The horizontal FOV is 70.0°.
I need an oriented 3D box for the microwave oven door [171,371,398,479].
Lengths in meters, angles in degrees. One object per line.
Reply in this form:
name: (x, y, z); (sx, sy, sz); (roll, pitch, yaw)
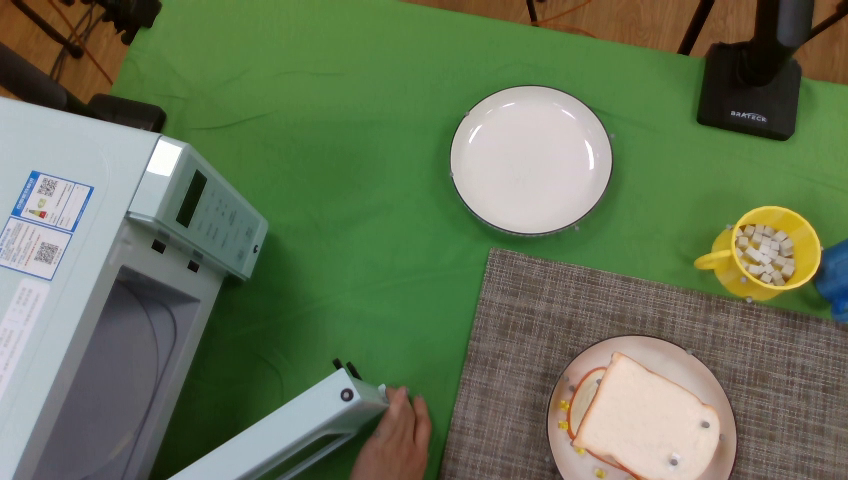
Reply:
microwave oven door: (-0.198, 0.237, 0.587); (0.356, 0.245, 0.039); (-32, 73, -5)

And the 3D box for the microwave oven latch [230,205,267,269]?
microwave oven latch: (-0.223, -0.006, 0.761); (0.030, 0.029, 0.079); (17, 77, 8)

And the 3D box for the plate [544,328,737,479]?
plate: (0.240, 0.204, 0.685); (0.209, 0.038, 0.208); (-1, 74, 4)

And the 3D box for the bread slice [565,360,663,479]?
bread slice: (0.228, 0.200, 0.689); (0.131, 0.019, 0.104); (25, 78, 10)

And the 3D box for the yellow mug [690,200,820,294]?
yellow mug: (0.384, 0.012, 0.718); (0.131, 0.064, 0.099); (-8, 73, 3)

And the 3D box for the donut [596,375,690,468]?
donut: (0.237, 0.197, 0.658); (0.099, 0.048, 0.098); (-1, 73, 3)

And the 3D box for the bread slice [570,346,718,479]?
bread slice: (0.234, 0.184, 0.630); (0.134, 0.018, 0.107); (24, 84, 5)

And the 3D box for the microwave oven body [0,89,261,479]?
microwave oven body: (-0.421, 0.096, 0.647); (0.325, 0.261, 0.440); (14, 76, 8)

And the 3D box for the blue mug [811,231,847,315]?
blue mug: (0.499, 0.035, 0.683); (0.082, 0.106, 0.116); (33, 80, 13)

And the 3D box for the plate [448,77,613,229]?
plate: (0.135, -0.110, 0.785); (0.207, 0.039, 0.206); (-1, 74, 4)
